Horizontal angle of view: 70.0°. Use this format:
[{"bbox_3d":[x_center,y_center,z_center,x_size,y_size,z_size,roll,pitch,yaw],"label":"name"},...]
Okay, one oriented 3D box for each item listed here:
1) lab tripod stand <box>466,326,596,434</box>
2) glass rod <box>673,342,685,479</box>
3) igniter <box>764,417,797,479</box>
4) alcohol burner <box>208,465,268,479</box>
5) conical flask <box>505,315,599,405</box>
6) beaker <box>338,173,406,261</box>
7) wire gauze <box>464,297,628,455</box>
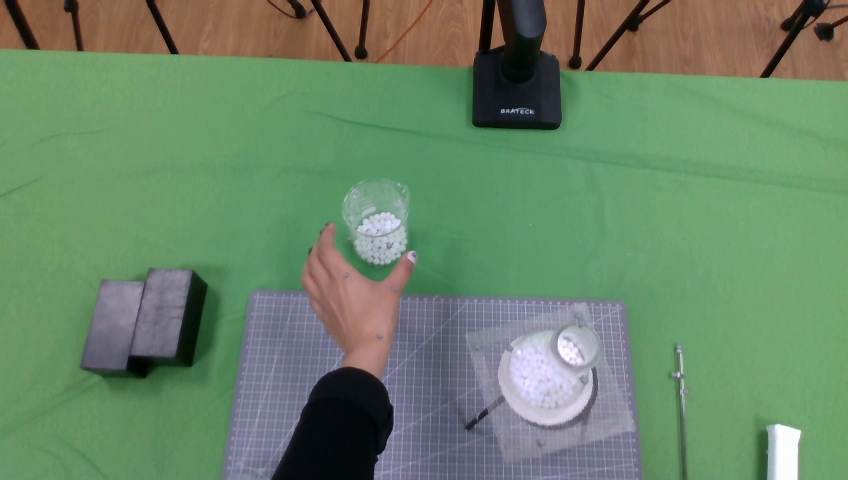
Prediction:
[{"bbox_3d":[0.113,0.150,0.622,0.148,0.132,0.147,0,70,0],"label":"lab tripod stand"},{"bbox_3d":[0.282,0.211,0.670,0.008,0.008,0.198,6,67,2],"label":"glass rod"},{"bbox_3d":[0.358,0.321,0.616,0.057,0.025,0.275,17,68,-5],"label":"igniter"},{"bbox_3d":[-0.187,0.258,0.585,0.078,0.120,0.077,1,69,-2],"label":"alcohol burner"},{"bbox_3d":[0.112,0.096,0.508,0.075,0.122,0.075,0,70,0],"label":"conical flask"},{"bbox_3d":[-0.055,-0.024,0.712,0.084,0.101,0.073,-37,73,-15],"label":"beaker"},{"bbox_3d":[0.112,0.124,0.561,0.125,0.011,0.120,-13,71,-8],"label":"wire gauze"}]
